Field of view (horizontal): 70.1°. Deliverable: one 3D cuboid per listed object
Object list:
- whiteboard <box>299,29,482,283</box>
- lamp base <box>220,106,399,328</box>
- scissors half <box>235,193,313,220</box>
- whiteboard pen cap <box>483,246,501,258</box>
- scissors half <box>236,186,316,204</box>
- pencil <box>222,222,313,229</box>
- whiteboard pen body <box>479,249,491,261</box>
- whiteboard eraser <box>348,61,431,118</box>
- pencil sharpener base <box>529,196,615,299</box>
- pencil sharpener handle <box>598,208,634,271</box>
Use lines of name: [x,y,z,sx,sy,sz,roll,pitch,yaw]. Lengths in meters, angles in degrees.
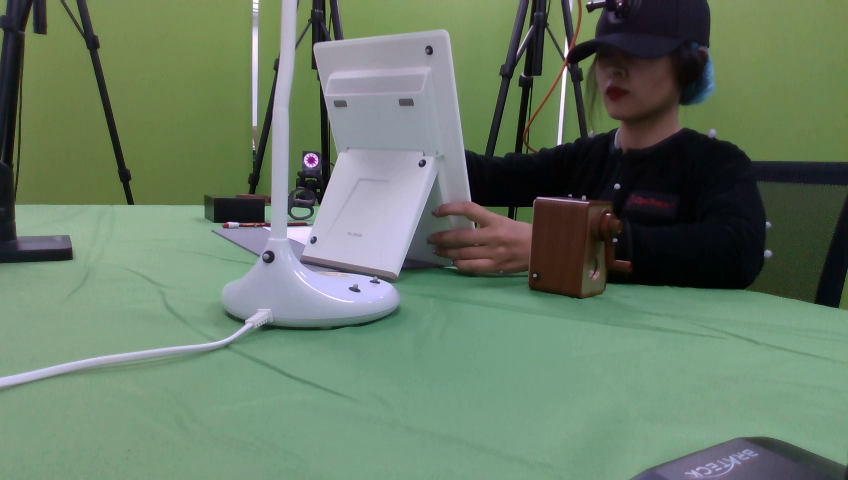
whiteboard: [-0.074,-0.082,0.742,0.216,0.305,0.144,9,29,37]
lamp base: [-0.101,-0.023,0.531,0.160,0.180,0.179,4,10,10]
scissors half: [-0.325,-0.077,1.320,0.176,0.040,0.012,17,8,-32]
whiteboard pen cap: [0.104,0.018,0.936,0.018,0.018,0.033,-1,5,-22]
scissors half: [-0.320,-0.096,1.316,0.176,0.040,0.013,-3,13,-29]
pencil: [-0.302,-0.030,1.188,0.195,0.012,0.012,-2,9,-42]
whiteboard pen body: [0.032,0.016,0.898,0.140,0.017,0.017,6,8,28]
whiteboard eraser: [-0.048,-0.191,0.779,0.112,0.055,0.042,-2,22,39]
pencil sharpener base: [0.168,0.007,0.677,0.076,0.107,0.062,10,10,42]
pencil sharpener handle: [0.208,0.000,0.644,0.030,0.068,0.036,10,23,42]
